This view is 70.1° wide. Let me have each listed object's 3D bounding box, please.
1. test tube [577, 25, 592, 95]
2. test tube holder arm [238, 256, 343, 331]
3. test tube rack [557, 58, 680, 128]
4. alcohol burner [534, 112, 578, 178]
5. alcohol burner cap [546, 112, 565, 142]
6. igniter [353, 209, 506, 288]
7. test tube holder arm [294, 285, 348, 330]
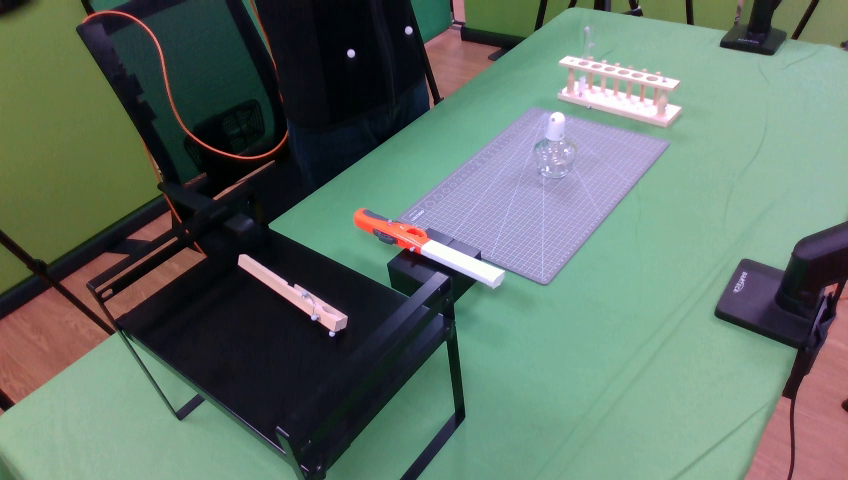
[{"bbox_3d":[0.325,-0.362,1.226,0.017,0.151,0.017,-3,45,4],"label":"test tube"},{"bbox_3d":[-0.150,0.054,0.657,0.177,0.015,0.013,25,17,35],"label":"test tube holder arm"},{"bbox_3d":[0.395,-0.309,1.230,0.240,0.085,0.067,25,50,33],"label":"test tube rack"},{"bbox_3d":[0.232,-0.170,1.065,0.078,0.119,0.077,-5,39,5],"label":"alcohol burner"},{"bbox_3d":[0.229,-0.197,1.042,0.034,0.048,0.033,-1,46,2],"label":"alcohol burner cap"},{"bbox_3d":[-0.003,0.006,0.892,0.274,0.025,0.057,24,37,31],"label":"igniter"},{"bbox_3d":[-0.113,0.070,0.635,0.087,0.015,0.010,25,17,36],"label":"test tube holder arm"}]
